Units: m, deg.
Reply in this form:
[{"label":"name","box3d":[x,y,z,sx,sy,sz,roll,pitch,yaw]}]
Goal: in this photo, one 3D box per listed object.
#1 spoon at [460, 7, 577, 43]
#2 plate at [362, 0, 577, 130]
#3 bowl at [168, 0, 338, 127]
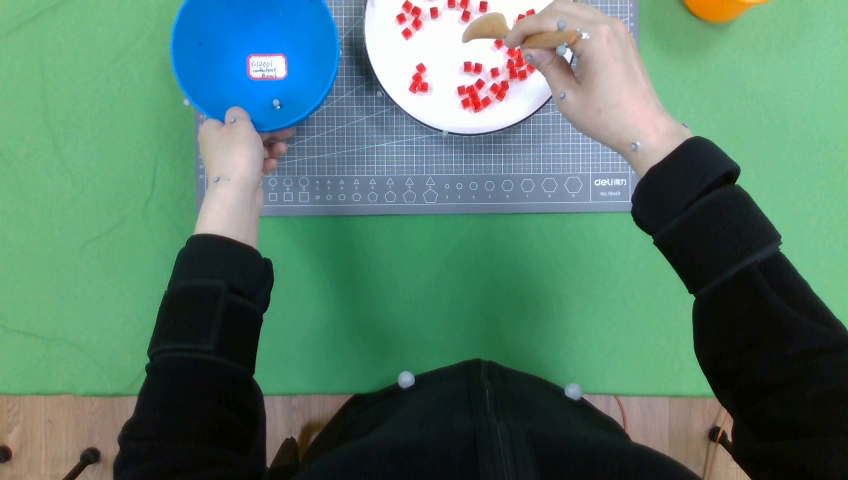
[{"label":"spoon","box3d":[0.071,-0.163,0.468,0.041,0.192,0.022,-33,119,-3]},{"label":"plate","box3d":[0.044,-0.211,0.597,0.209,0.038,0.209,0,90,-1]},{"label":"bowl","box3d":[-0.152,-0.176,0.574,0.151,0.077,0.151,0,91,-1]}]
